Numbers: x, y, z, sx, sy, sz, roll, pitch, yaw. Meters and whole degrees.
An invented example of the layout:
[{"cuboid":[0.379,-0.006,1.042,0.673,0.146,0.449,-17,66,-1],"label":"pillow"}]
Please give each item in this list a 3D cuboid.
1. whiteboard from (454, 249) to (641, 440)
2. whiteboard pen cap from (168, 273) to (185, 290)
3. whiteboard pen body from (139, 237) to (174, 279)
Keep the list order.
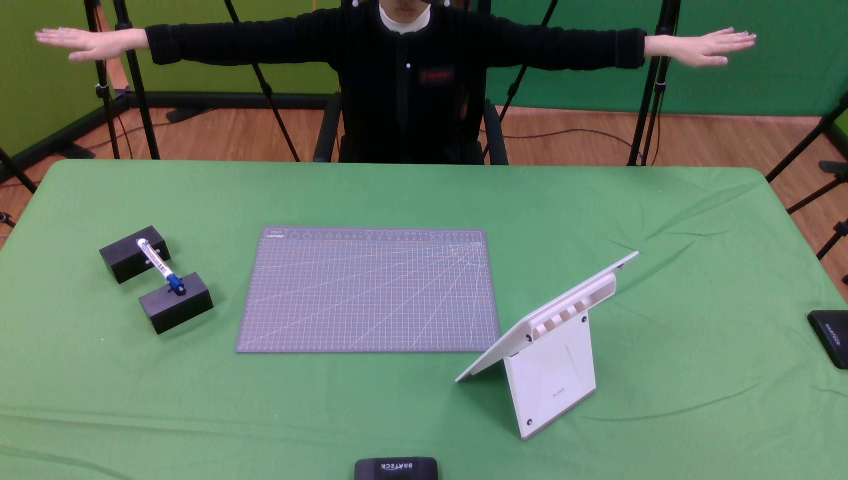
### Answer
[{"cuboid":[0.206,0.174,0.890,0.217,0.306,0.143,-24,72,-25],"label":"whiteboard"},{"cuboid":[-0.422,0.070,1.032,0.018,0.018,0.033,-34,54,-30],"label":"whiteboard pen cap"},{"cuboid":[-0.462,0.038,1.059,0.017,0.017,0.140,-32,56,-29],"label":"whiteboard pen body"}]
